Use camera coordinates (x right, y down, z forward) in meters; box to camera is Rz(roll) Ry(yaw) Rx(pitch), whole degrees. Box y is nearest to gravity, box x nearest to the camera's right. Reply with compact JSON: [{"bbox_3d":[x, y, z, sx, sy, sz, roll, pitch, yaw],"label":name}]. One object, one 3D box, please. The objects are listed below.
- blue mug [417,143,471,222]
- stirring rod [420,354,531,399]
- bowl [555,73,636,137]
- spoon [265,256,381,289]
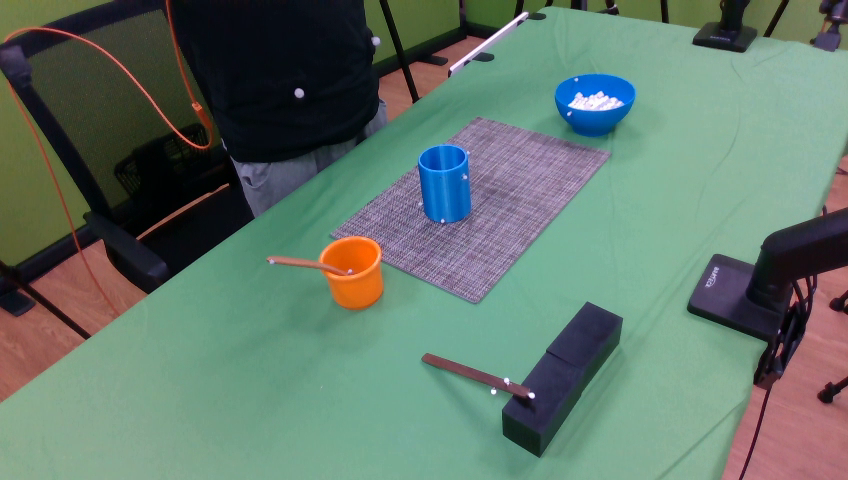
[{"bbox_3d":[0.031,-0.104,1.014,0.082,0.106,0.115,-14,41,-7],"label":"blue mug"},{"bbox_3d":[0.058,0.164,0.738,0.174,0.006,0.014,8,42,46],"label":"stirring rod"},{"bbox_3d":[0.328,-0.253,1.172,0.151,0.077,0.150,-4,41,4],"label":"bowl"},{"bbox_3d":[-0.136,0.041,0.842,0.021,0.195,0.041,-55,47,13],"label":"spoon"}]
